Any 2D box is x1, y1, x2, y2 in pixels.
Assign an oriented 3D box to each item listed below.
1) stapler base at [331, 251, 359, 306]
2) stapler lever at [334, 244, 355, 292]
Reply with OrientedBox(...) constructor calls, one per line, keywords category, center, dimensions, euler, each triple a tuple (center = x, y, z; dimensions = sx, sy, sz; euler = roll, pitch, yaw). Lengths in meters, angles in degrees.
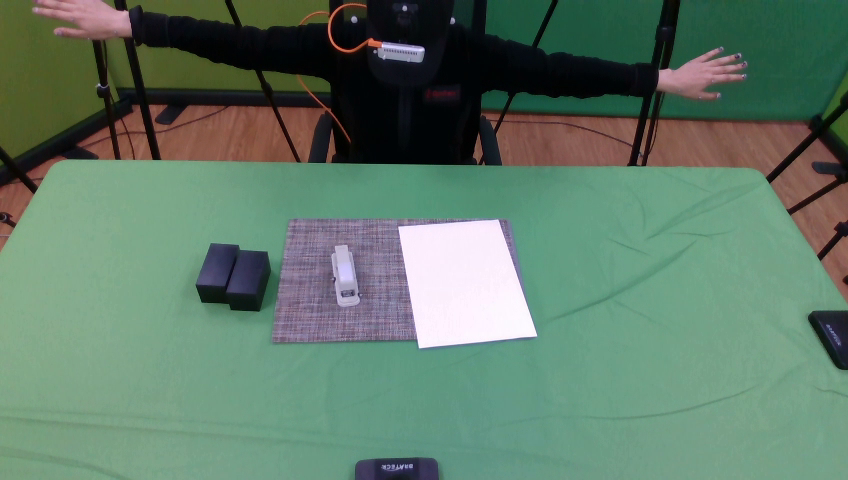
OrientedBox(category="stapler base", center=(-0.147, 0.064, 1.119), dimensions=(0.041, 0.024, 0.129), euler=(-4, 45, -13))
OrientedBox(category="stapler lever", center=(-0.146, 0.045, 1.103), dimensions=(0.027, 0.040, 0.117), euler=(-4, 45, -12))
